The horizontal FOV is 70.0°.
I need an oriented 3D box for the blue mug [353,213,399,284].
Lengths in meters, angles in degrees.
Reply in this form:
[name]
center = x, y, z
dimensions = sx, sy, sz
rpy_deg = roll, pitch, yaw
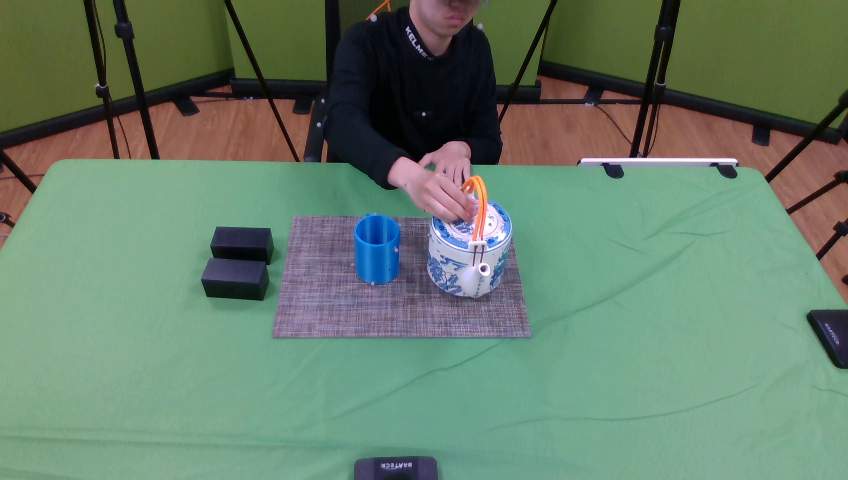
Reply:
[blue mug]
center = -0.093, 0.006, 1.123
dimensions = 0.082, 0.106, 0.115
rpy_deg = -11, 48, -15

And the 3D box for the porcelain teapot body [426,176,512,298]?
[porcelain teapot body]
center = 0.085, 0.009, 1.051
dimensions = 0.145, 0.226, 0.204
rpy_deg = -5, 47, -8

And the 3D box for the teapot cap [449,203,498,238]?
[teapot cap]
center = 0.085, -0.037, 1.041
dimensions = 0.085, 0.044, 0.084
rpy_deg = -2, 49, 2
